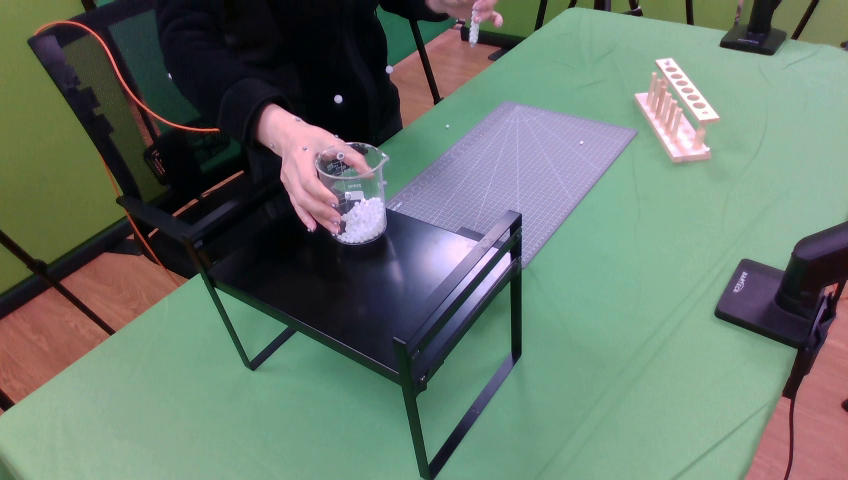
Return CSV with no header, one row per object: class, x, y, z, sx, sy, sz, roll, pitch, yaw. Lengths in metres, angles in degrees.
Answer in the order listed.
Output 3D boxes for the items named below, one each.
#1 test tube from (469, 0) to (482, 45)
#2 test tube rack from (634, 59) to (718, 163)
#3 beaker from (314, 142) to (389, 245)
test tube,0.083,-0.371,0.939,0.017,0.150,0.017,1,50,-1
test tube rack,0.470,-0.250,1.148,0.067,0.085,0.241,-6,40,3
beaker,-0.078,-0.051,0.694,0.084,0.100,0.073,-12,41,-13
